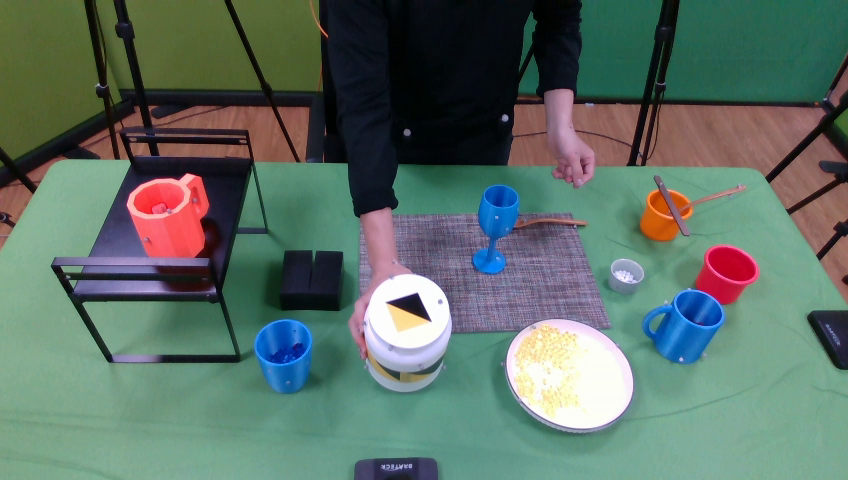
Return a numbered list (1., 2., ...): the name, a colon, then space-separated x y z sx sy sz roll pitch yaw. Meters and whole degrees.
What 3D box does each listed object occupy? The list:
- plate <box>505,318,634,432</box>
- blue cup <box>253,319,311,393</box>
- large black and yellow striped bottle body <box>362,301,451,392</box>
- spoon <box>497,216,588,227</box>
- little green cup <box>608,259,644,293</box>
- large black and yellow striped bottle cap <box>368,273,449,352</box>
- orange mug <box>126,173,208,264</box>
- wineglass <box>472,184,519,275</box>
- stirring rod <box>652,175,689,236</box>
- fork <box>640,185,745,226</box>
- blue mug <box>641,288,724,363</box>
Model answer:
1. plate: 0.235 0.221 0.991 0.209 0.038 0.208 2 46 -2
2. blue cup: -0.217 0.187 0.943 0.093 0.101 0.092 4 45 -3
3. large black and yellow striped bottle body: -0.028 0.143 0.922 0.131 0.185 0.130 2 59 -3
4. spoon: 0.246 -0.039 1.247 0.194 0.022 0.041 -2 23 -6
5. little green cup: 0.379 0.070 1.147 0.061 0.039 0.061 3 45 -2
6. large black and yellow striped bottle cap: -0.022 0.100 0.849 0.115 0.019 0.114 1 61 -2
7. orange mug: -0.371 -0.040 0.902 0.083 0.101 0.126 18 52 13
8. wineglass: 0.129 -0.018 1.113 0.074 0.173 0.073 2 46 -2
9. stirring rod: 0.491 -0.072 1.211 0.014 0.006 0.175 -1 47 -6
10. fork: 0.534 -0.069 1.215 0.207 0.019 0.028 -26 27 33
11. blue mug: 0.432 0.144 1.033 0.116 0.106 0.082 9 46 5
